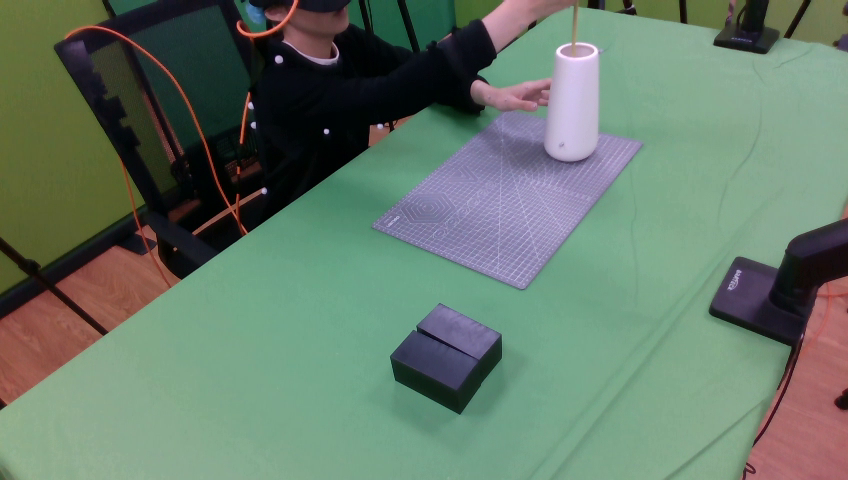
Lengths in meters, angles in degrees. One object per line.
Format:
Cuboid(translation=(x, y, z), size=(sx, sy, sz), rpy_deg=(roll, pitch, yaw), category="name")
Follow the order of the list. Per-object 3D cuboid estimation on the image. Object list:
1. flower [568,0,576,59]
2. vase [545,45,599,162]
Cuboid(translation=(0.228, -0.388, 0.910), size=(0.043, 0.363, 0.038), rpy_deg=(28, 55, 30), category="flower")
Cuboid(translation=(0.267, -0.238, 1.074), size=(0.098, 0.201, 0.097), rpy_deg=(-4, 42, 4), category="vase")
